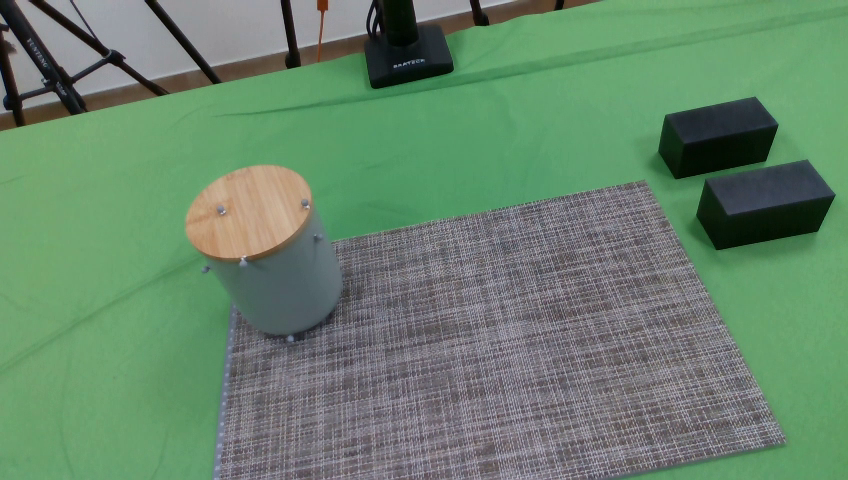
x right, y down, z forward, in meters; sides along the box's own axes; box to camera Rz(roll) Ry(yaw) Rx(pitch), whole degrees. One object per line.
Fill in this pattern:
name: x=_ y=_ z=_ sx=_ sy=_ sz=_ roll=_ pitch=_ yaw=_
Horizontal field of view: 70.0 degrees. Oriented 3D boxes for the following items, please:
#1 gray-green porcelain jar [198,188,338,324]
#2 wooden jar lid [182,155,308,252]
gray-green porcelain jar: x=-0.142 y=0.010 z=0.571 sx=0.106 sy=0.128 sz=0.105 roll=-5 pitch=50 yaw=6
wooden jar lid: x=-0.152 y=-0.030 z=0.524 sx=0.108 sy=0.021 sz=0.107 roll=-3 pitch=53 yaw=4
